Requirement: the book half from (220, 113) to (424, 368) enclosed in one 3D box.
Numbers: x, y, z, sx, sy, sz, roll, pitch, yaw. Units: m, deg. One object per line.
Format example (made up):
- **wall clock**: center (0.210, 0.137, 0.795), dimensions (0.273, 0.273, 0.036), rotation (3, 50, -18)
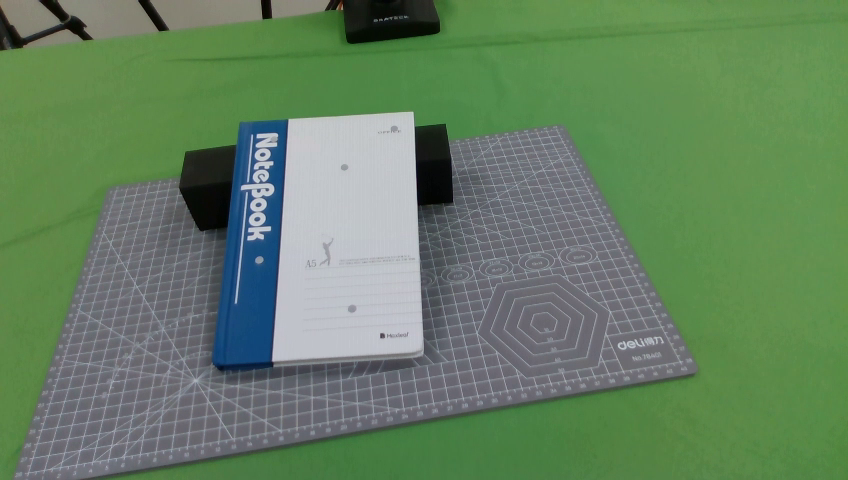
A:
- **book half**: center (-0.075, -0.009, 0.464), dimensions (0.143, 0.007, 0.208), rotation (-3, 63, 1)
